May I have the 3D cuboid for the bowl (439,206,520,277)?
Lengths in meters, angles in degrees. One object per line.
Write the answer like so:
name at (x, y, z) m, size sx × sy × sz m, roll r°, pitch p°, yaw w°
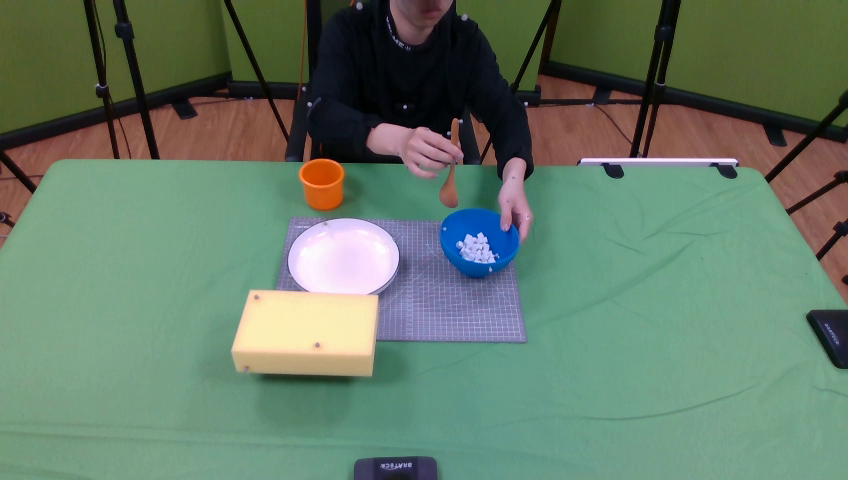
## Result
bowl at (0.098, 0.015, 1.132) m, size 0.151 × 0.077 × 0.150 m, roll 4°, pitch 44°, yaw -4°

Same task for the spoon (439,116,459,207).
spoon at (0.049, -0.135, 1.075) m, size 0.041 × 0.194 × 0.021 m, roll 22°, pitch 43°, yaw 22°

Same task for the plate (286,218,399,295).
plate at (-0.150, 0.041, 1.131) m, size 0.209 × 0.038 × 0.208 m, roll 2°, pitch 46°, yaw -2°

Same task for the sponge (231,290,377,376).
sponge at (-0.180, 0.145, 0.949) m, size 0.207 × 0.061 × 0.117 m, roll 2°, pitch 46°, yaw -2°
